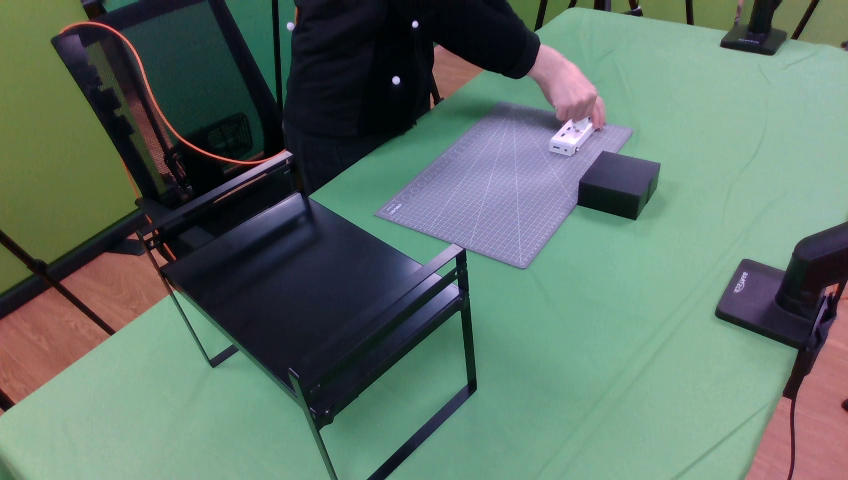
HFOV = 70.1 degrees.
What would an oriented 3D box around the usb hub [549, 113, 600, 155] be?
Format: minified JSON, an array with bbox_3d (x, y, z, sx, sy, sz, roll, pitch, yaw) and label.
[{"bbox_3d":[0.292,-0.207,1.167,0.049,0.025,0.125,20,49,31],"label":"usb hub"}]

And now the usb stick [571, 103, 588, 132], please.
[{"bbox_3d":[0.290,-0.225,1.128,0.027,0.059,0.021,20,59,24],"label":"usb stick"}]
